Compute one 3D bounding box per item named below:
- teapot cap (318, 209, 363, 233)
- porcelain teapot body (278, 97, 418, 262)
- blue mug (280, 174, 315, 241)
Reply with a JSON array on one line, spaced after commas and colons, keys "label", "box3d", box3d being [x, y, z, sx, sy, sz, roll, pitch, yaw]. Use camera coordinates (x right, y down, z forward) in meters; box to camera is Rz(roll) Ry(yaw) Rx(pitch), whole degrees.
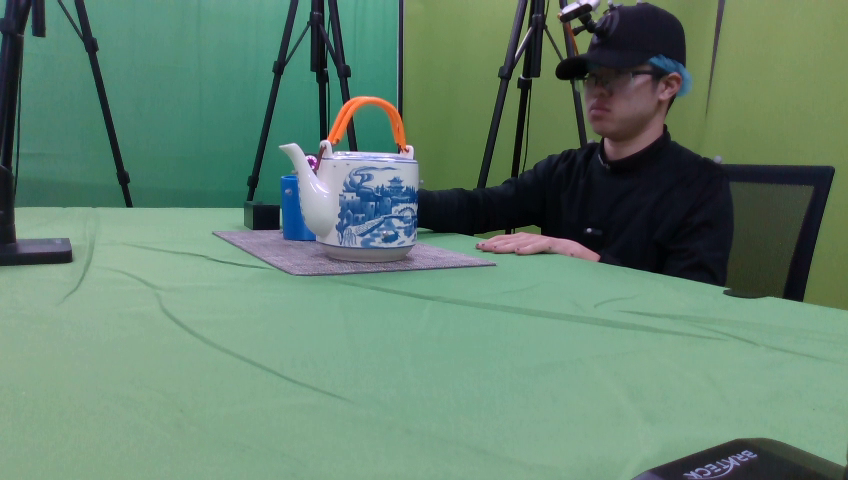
[{"label": "teapot cap", "box3d": [-0.158, -0.036, 1.144, 0.085, 0.044, 0.085, 0, 6, 0]}, {"label": "porcelain teapot body", "box3d": [-0.104, -0.086, 0.842, 0.206, 0.225, 0.144, -4, 10, -38]}, {"label": "blue mug", "box3d": [-0.188, -0.059, 1.046, 0.117, 0.106, 0.082, -5, 12, -26]}]
